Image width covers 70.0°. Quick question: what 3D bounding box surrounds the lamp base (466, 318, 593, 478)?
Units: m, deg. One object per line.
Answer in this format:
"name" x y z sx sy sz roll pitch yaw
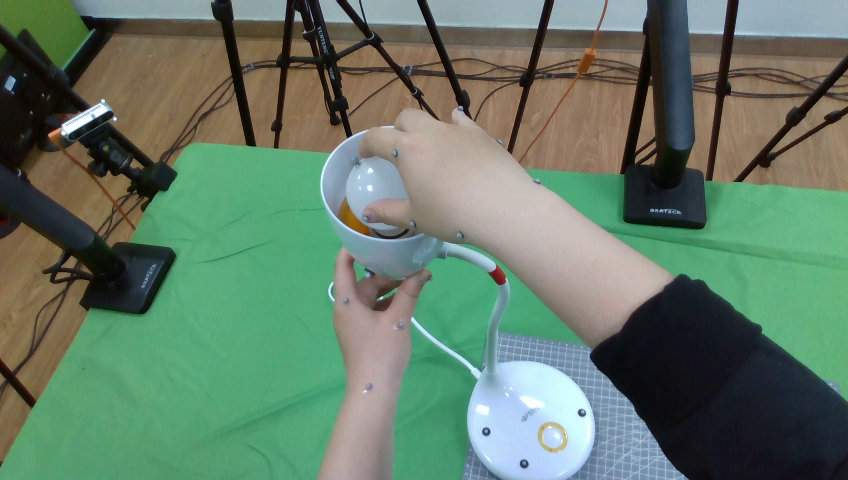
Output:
"lamp base" 0.115 0.172 0.716 0.177 0.182 0.160 30 63 28

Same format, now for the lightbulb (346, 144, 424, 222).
"lightbulb" -0.025 -0.038 0.491 0.059 0.108 0.059 -3 75 11

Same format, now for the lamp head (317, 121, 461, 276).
"lamp head" -0.023 -0.021 0.515 0.112 0.124 0.111 -2 59 4
